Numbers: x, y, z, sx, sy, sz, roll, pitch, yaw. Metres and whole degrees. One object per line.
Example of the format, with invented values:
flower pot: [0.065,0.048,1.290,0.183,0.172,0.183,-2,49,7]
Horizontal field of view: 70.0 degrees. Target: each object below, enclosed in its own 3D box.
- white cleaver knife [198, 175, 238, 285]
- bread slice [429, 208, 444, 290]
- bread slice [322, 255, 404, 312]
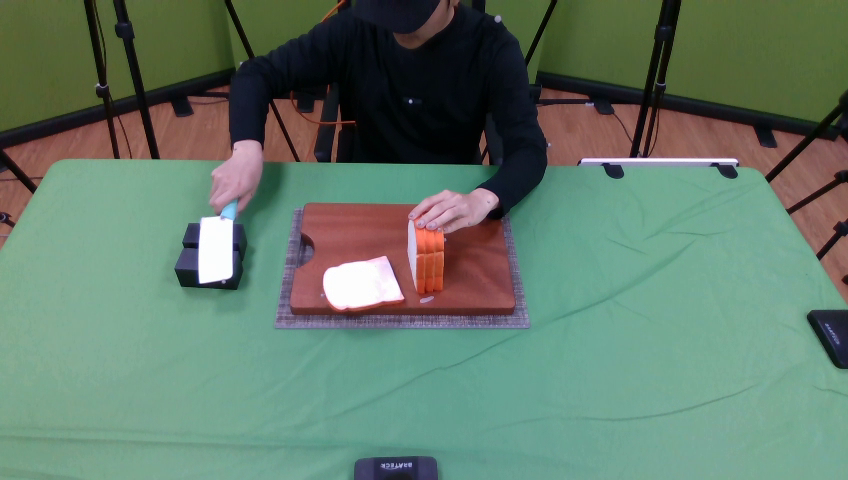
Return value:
white cleaver knife: [-0.385,-0.028,1.136,0.066,0.021,0.284,-5,45,-9]
bread slice: [0.022,0.012,1.069,0.018,0.135,0.106,-3,53,-4]
bread slice: [-0.114,0.079,1.068,0.132,0.019,0.104,-10,51,-18]
